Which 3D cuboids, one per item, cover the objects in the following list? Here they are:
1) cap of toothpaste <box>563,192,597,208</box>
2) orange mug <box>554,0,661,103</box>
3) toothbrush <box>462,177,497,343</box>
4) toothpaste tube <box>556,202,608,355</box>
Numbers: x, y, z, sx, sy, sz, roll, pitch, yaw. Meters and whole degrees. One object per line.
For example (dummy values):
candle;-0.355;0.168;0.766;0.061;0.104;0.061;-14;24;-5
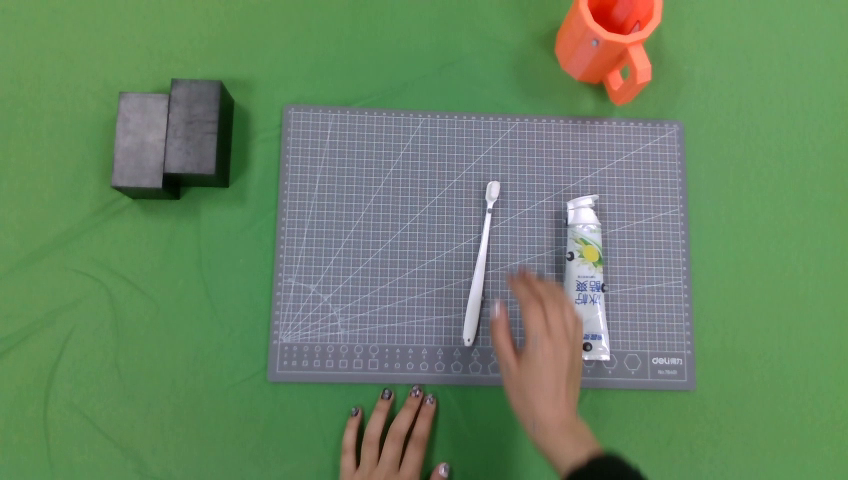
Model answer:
cap of toothpaste;0.169;-0.042;0.652;0.037;0.037;0.011;-11;79;-5
orange mug;0.201;-0.217;0.653;0.083;0.101;0.125;-19;78;-6
toothbrush;0.060;0.019;0.647;0.014;0.016;0.181;12;82;-13
toothpaste tube;0.167;0.039;0.646;0.055;0.034;0.164;0;85;4
